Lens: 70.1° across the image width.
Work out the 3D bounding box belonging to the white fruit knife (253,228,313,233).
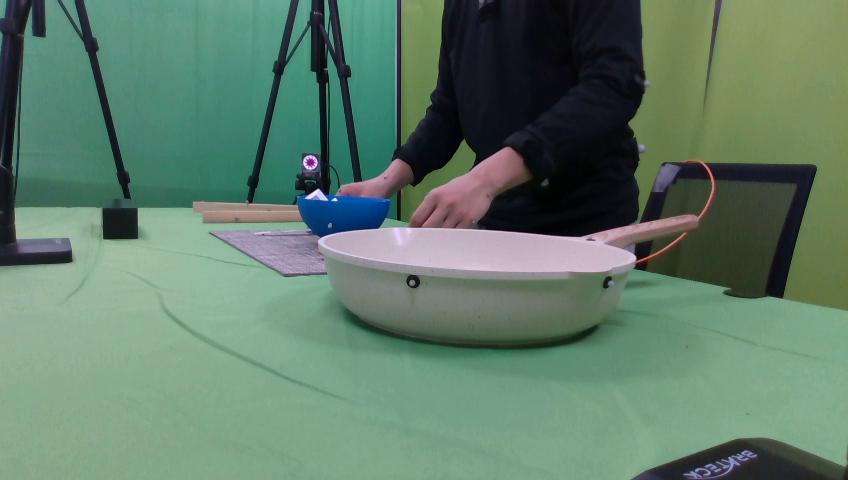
[{"bbox_3d":[-0.205,-0.019,1.101,0.208,0.016,0.027,-3,-3,-28],"label":"white fruit knife"}]

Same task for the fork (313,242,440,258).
[{"bbox_3d":[-0.062,0.013,0.877,0.208,0.018,0.028,-5,6,-34],"label":"fork"}]

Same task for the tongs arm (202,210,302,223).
[{"bbox_3d":[-0.298,-0.057,1.354,0.390,0.028,0.028,-3,7,-36],"label":"tongs arm"}]

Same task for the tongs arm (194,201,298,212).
[{"bbox_3d":[-0.335,-0.072,1.424,0.387,0.026,0.050,0,9,-24],"label":"tongs arm"}]

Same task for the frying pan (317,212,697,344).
[{"bbox_3d":[0.133,0.013,0.629,0.490,0.102,0.305,-12,14,-31],"label":"frying pan"}]

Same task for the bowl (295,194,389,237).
[{"bbox_3d":[-0.132,-0.032,0.980,0.151,0.077,0.151,2,7,0],"label":"bowl"}]
